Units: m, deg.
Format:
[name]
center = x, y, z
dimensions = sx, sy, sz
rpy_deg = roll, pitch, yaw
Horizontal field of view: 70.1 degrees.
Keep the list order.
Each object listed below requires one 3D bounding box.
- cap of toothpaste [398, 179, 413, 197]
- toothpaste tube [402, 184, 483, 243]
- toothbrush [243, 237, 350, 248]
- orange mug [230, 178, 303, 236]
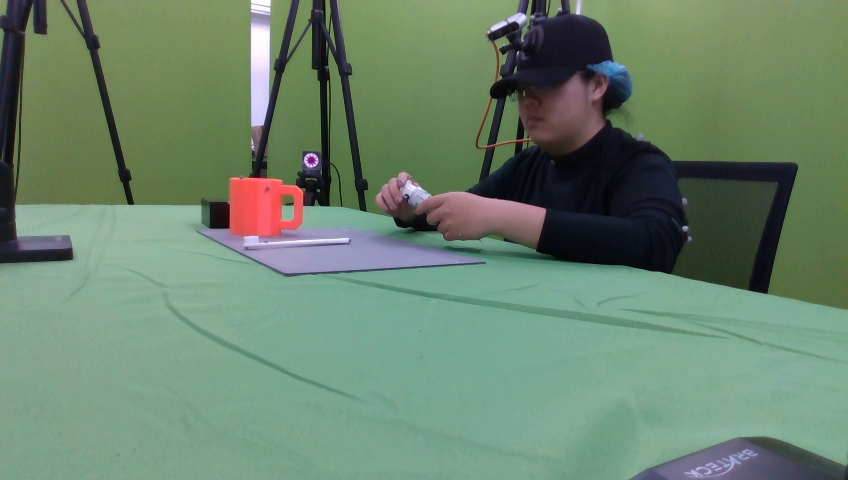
[cap of toothpaste]
center = -0.030, -0.089, 1.052
dimensions = 0.011, 0.037, 0.037
rpy_deg = 34, 18, 18
[toothpaste tube]
center = 0.030, -0.047, 1.025
dimensions = 0.164, 0.034, 0.055
rpy_deg = 35, 3, 19
[toothbrush]
center = -0.191, 0.002, 0.927
dimensions = 0.183, 0.016, 0.014
rpy_deg = -2, -7, -41
[orange mug]
center = -0.276, -0.060, 1.058
dimensions = 0.126, 0.101, 0.083
rpy_deg = -2, 8, -5
